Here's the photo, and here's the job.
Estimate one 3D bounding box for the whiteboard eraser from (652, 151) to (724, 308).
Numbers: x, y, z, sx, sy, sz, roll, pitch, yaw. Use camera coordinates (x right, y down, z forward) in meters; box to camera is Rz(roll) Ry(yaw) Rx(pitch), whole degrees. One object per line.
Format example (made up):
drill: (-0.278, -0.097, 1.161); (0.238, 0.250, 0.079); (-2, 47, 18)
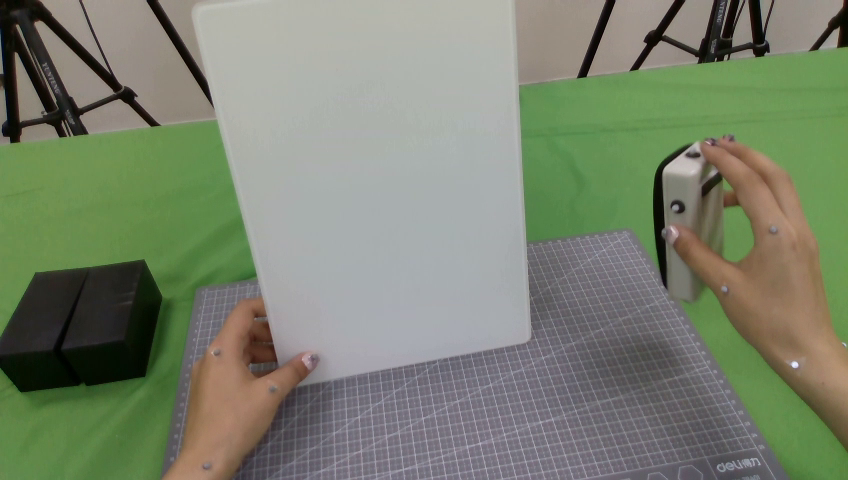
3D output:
whiteboard eraser: (0.204, -0.007, 0.469); (0.041, 0.113, 0.055); (12, 37, 45)

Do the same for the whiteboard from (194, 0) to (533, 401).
whiteboard: (-0.036, -0.048, 0.522); (0.217, 0.307, 0.142); (-9, 22, -5)
